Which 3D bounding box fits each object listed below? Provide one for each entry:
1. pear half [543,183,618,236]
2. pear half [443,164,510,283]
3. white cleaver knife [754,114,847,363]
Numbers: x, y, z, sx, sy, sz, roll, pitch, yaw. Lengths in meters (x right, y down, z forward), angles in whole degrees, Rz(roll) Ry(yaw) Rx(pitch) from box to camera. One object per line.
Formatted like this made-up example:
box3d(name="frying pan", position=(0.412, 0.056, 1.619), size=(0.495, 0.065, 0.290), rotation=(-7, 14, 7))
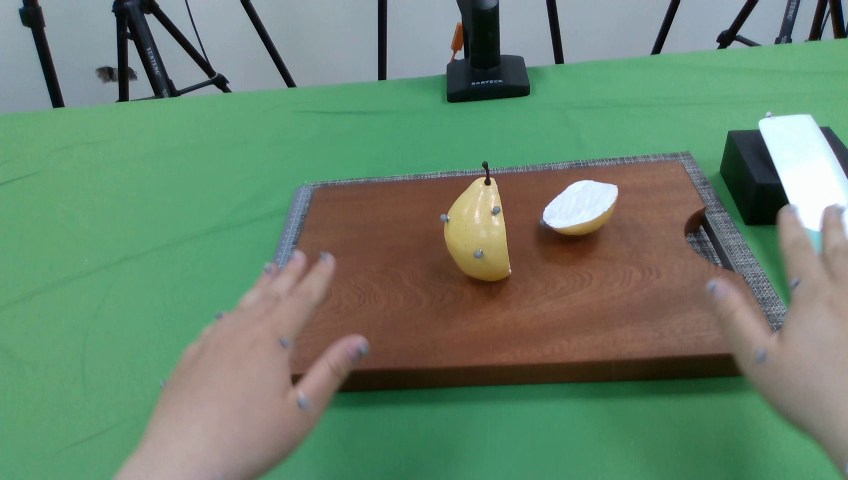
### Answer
box3d(name="pear half", position=(0.149, -0.025, 0.570), size=(0.070, 0.031, 0.087), rotation=(-10, 22, 21))
box3d(name="pear half", position=(0.043, -0.016, 0.515), size=(0.056, 0.111, 0.075), rotation=(-10, 34, -2))
box3d(name="white cleaver knife", position=(0.354, -0.019, 0.531), size=(0.066, 0.022, 0.284), rotation=(-1, 53, 10))
